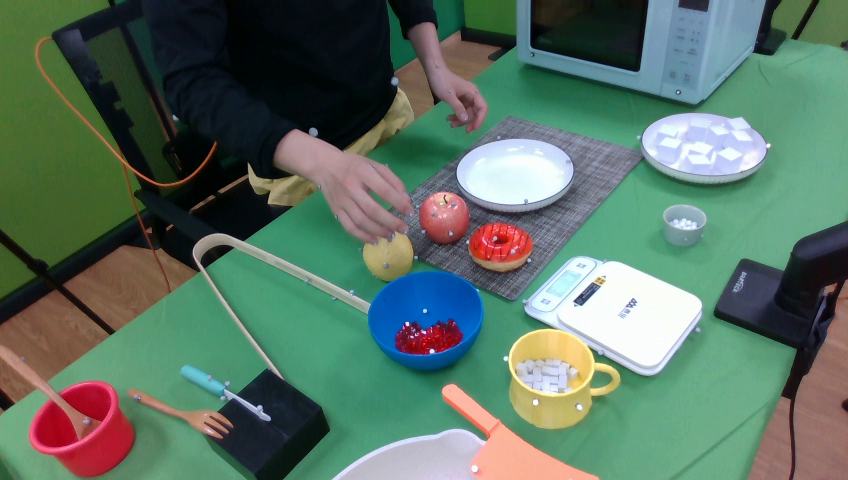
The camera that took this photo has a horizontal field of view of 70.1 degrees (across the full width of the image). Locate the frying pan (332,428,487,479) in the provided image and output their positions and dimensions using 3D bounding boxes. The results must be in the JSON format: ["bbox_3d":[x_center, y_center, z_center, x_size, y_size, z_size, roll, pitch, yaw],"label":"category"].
[{"bbox_3d":[-0.089,0.306,0.564,0.487,0.103,0.306,9,41,7],"label":"frying pan"}]

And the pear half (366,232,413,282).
[{"bbox_3d":[-0.048,0.031,0.893,0.071,0.088,0.031,-16,40,-13],"label":"pear half"}]

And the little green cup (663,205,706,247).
[{"bbox_3d":[0.396,-0.021,0.926,0.061,0.039,0.061,-4,40,4],"label":"little green cup"}]

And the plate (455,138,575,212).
[{"bbox_3d":[0.159,-0.111,1.063,0.209,0.038,0.208,-4,40,4],"label":"plate"}]

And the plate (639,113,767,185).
[{"bbox_3d":[0.489,-0.157,1.074,0.207,0.039,0.206,-4,40,4],"label":"plate"}]

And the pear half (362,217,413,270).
[{"bbox_3d":[-0.059,0.003,0.913,0.076,0.110,0.055,-15,40,-13],"label":"pear half"}]

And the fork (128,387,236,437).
[{"bbox_3d":[-0.305,0.207,0.744,0.206,0.019,0.028,3,42,36],"label":"fork"}]

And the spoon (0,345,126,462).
[{"bbox_3d":[-0.434,0.192,0.720,0.194,0.021,0.042,47,53,-7],"label":"spoon"}]

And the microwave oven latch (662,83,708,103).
[{"bbox_3d":[0.518,-0.296,1.204,0.078,0.029,0.030,28,52,35],"label":"microwave oven latch"}]

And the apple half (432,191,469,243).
[{"bbox_3d":[0.045,-0.038,0.967,0.053,0.075,0.080,-14,37,-11],"label":"apple half"}]

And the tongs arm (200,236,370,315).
[{"bbox_3d":[-0.209,0.062,0.924,0.381,0.026,0.051,23,53,32],"label":"tongs arm"}]

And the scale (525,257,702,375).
[{"bbox_3d":[0.254,0.091,0.821,0.199,0.032,0.149,28,51,35],"label":"scale"}]

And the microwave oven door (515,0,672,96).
[{"bbox_3d":[0.343,-0.455,1.259,0.353,0.245,0.039,26,51,33],"label":"microwave oven door"}]

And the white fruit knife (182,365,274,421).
[{"bbox_3d":[-0.246,0.188,0.747,0.205,0.027,0.016,9,40,41],"label":"white fruit knife"}]

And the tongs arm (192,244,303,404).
[{"bbox_3d":[-0.268,0.110,0.883,0.028,0.028,0.384,-36,47,-18],"label":"tongs arm"}]

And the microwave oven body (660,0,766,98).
[{"bbox_3d":[0.472,-0.513,1.317,0.438,0.261,0.327,26,51,34],"label":"microwave oven body"}]

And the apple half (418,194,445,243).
[{"bbox_3d":[0.009,-0.028,0.959,0.033,0.081,0.080,-14,41,-11],"label":"apple half"}]

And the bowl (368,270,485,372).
[{"bbox_3d":[0.007,0.118,0.791,0.151,0.077,0.150,-5,40,4],"label":"bowl"}]

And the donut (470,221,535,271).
[{"bbox_3d":[0.119,0.008,0.923,0.099,0.048,0.098,-3,39,3],"label":"donut"}]

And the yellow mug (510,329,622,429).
[{"bbox_3d":[0.168,0.164,0.721,0.130,0.064,0.099,0,40,8],"label":"yellow mug"}]

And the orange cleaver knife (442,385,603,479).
[{"bbox_3d":[0.086,0.219,0.612,0.209,0.012,0.077,28,49,35],"label":"orange cleaver knife"}]
